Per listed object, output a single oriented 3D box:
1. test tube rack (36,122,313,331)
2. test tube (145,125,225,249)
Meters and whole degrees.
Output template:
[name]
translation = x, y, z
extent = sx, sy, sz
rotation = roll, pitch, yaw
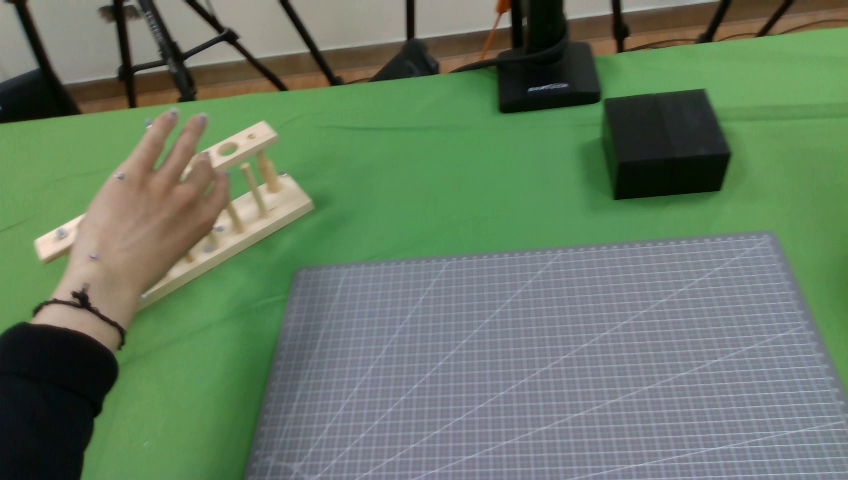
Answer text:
[test tube rack]
translation = -0.242, -0.018, 0.615
extent = 0.242, 0.086, 0.066
rotation = -33, 50, -17
[test tube]
translation = -0.225, -0.046, 0.576
extent = 0.017, 0.152, 0.017
rotation = -5, 47, 6
